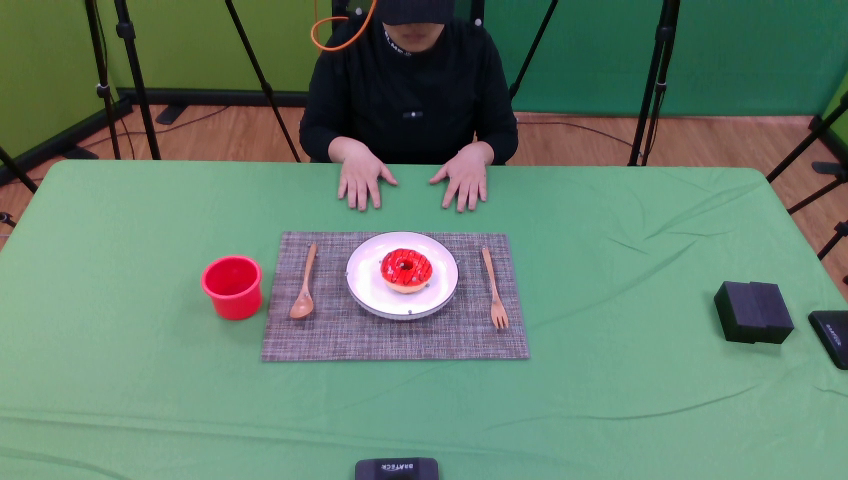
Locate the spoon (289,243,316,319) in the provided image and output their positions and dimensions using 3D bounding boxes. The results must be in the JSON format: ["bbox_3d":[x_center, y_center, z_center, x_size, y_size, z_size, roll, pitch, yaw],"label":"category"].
[{"bbox_3d":[-0.215,0.071,1.108,0.041,0.022,0.192,-10,45,10],"label":"spoon"}]

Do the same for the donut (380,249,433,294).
[{"bbox_3d":[-0.032,0.056,1.111,0.099,0.048,0.098,4,43,-3],"label":"donut"}]

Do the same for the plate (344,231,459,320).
[{"bbox_3d":[-0.042,0.068,1.115,0.209,0.038,0.208,2,46,-2],"label":"plate"}]

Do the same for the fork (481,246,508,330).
[{"bbox_3d":[0.128,0.084,1.125,0.028,0.019,0.206,-7,48,-1],"label":"fork"}]
